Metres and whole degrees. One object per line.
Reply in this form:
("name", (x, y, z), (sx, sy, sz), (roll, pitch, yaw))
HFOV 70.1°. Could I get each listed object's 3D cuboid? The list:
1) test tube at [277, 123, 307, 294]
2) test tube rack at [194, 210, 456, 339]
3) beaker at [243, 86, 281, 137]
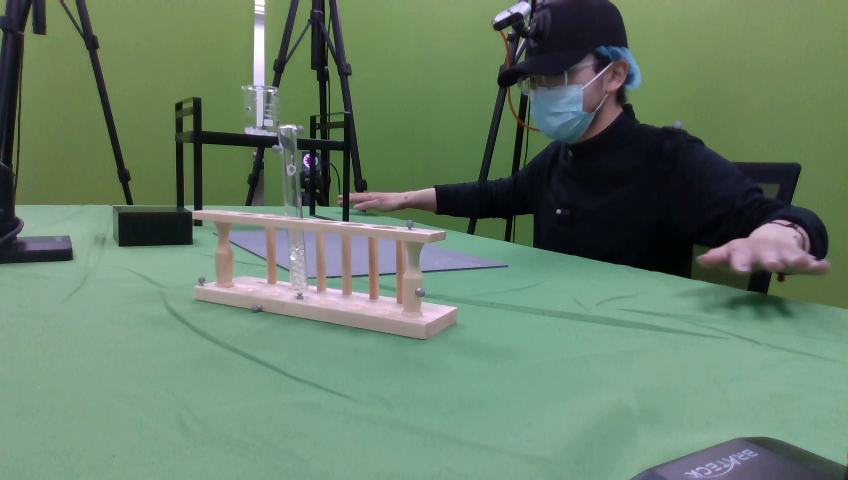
("test tube", (-0.116, -0.026, 0.532), (0.017, 0.150, 0.017), (-3, 7, 1))
("test tube rack", (-0.093, 0.023, 0.546), (0.241, 0.085, 0.067), (6, 8, 25))
("beaker", (-0.338, -0.265, 1.253), (0.073, 0.100, 0.084), (8, 9, 38))
